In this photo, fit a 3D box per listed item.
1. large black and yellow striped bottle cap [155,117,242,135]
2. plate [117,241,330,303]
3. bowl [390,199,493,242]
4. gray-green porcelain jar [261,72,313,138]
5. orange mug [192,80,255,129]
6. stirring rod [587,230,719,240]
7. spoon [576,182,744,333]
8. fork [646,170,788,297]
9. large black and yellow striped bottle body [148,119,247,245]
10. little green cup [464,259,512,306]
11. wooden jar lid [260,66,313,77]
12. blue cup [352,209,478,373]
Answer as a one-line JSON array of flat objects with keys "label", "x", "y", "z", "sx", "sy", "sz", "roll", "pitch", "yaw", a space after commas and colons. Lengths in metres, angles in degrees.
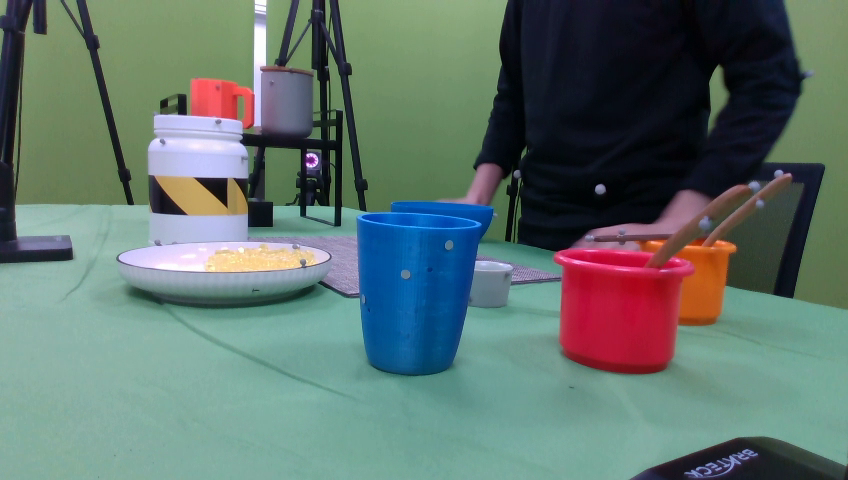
[{"label": "large black and yellow striped bottle cap", "x": -0.313, "y": -0.159, "z": 0.845, "sx": 0.115, "sy": 0.019, "sz": 0.115, "roll": 3, "pitch": 9, "yaw": 0}, {"label": "plate", "x": -0.203, "y": 0.031, "z": 0.630, "sx": 0.209, "sy": 0.038, "sz": 0.209, "roll": 3, "pitch": 7, "yaw": 0}, {"label": "bowl", "x": 0.023, "y": -0.016, "z": 0.874, "sx": 0.151, "sy": 0.077, "sz": 0.151, "roll": 2, "pitch": 8, "yaw": 0}, {"label": "gray-green porcelain jar", "x": -0.284, "y": -0.276, "z": 1.253, "sx": 0.106, "sy": 0.126, "sz": 0.106, "roll": 2, "pitch": 8, "yaw": 0}, {"label": "orange mug", "x": -0.389, "y": -0.257, "z": 1.172, "sx": 0.126, "sy": 0.100, "sz": 0.083, "roll": -1, "pitch": 6, "yaw": 9}, {"label": "stirring rod", "x": 0.226, "y": -0.005, "z": 0.587, "sx": 0.177, "sy": 0.006, "sz": 0.014, "roll": -2, "pitch": 10, "yaw": -29}, {"label": "spoon", "x": 0.152, "y": 0.020, "z": 0.410, "sx": 0.042, "sy": 0.021, "sz": 0.193, "roll": -1, "pitch": -36, "yaw": -13}, {"label": "fork", "x": 0.256, "y": 0.004, "z": 0.543, "sx": 0.028, "sy": 0.018, "sz": 0.207, "roll": 3, "pitch": -36, "yaw": -9}, {"label": "large black and yellow striped bottle body", "x": -0.318, "y": -0.076, "z": 0.855, "sx": 0.131, "sy": 0.184, "sz": 0.130, "roll": 2, "pitch": 7, "yaw": 0}, {"label": "little green cup", "x": 0.057, "y": 0.043, "z": 0.611, "sx": 0.061, "sy": 0.038, "sz": 0.061, "roll": 3, "pitch": 7, "yaw": 0}, {"label": "wooden jar lid", "x": -0.283, "y": -0.339, "z": 1.244, "sx": 0.108, "sy": 0.020, "sz": 0.108, "roll": 6, "pitch": 8, "yaw": -1}, {"label": "blue cup", "x": -0.009, "y": 0.034, "z": 0.414, "sx": 0.093, "sy": 0.100, "sz": 0.092, "roll": 4, "pitch": 8, "yaw": 0}]
